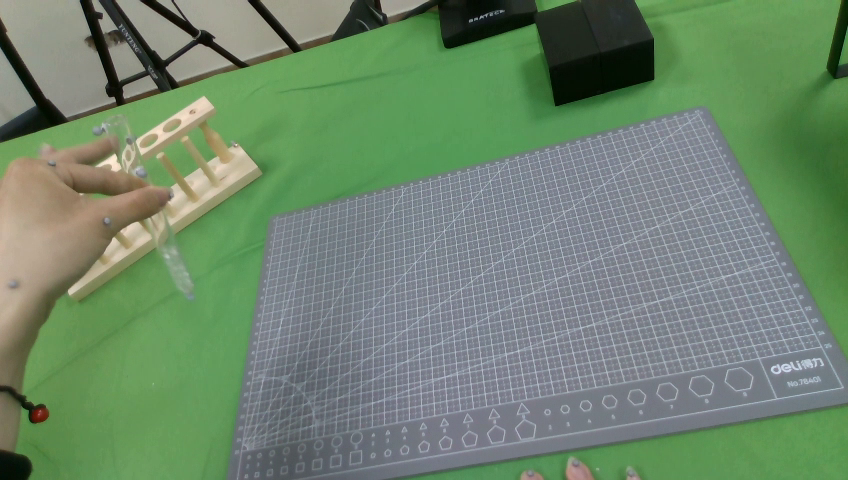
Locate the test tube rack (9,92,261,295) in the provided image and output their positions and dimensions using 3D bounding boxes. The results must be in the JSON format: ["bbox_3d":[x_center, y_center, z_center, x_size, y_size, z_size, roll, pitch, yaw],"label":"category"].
[{"bbox_3d":[-0.313,-0.053,0.670,0.242,0.086,0.066,-37,49,-11],"label":"test tube rack"}]

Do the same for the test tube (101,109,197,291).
[{"bbox_3d":[-0.197,-0.023,0.442,0.017,0.151,0.017,-6,34,4],"label":"test tube"}]
